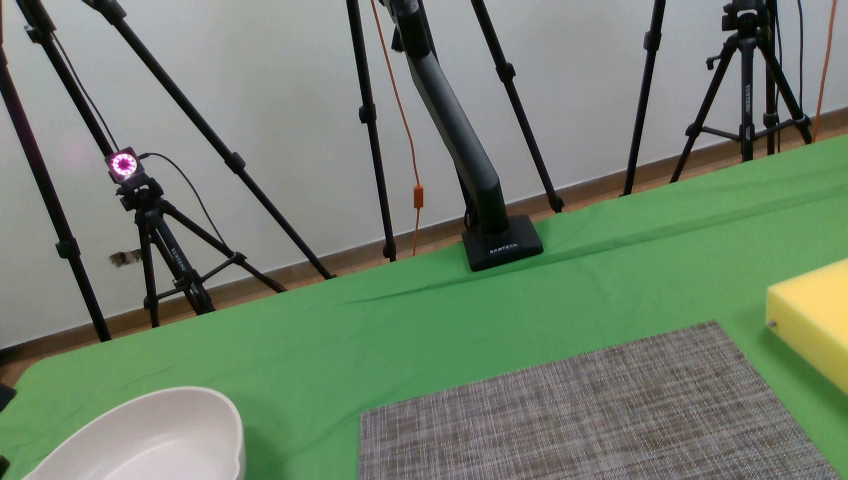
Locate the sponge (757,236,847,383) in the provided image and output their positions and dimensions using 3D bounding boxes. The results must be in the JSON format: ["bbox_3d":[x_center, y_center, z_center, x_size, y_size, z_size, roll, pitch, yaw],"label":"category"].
[{"bbox_3d":[0.459,0.084,0.613,0.118,0.061,0.204,-19,32,-3],"label":"sponge"}]

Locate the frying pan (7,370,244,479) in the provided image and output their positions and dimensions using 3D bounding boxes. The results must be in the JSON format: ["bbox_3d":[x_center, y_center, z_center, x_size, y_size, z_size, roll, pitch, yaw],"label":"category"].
[{"bbox_3d":[-0.360,0.327,0.612,0.306,0.103,0.485,-9,25,16],"label":"frying pan"}]
